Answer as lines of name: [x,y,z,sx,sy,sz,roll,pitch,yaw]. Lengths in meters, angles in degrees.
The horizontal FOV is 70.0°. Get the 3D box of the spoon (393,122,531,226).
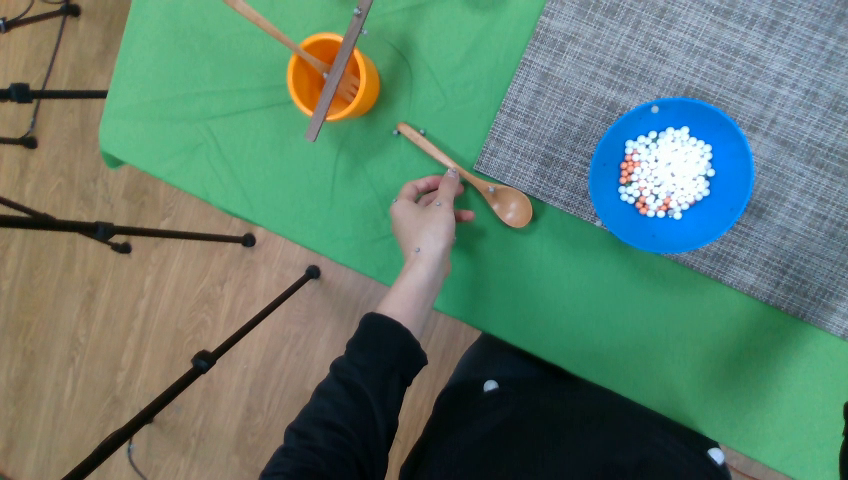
spoon: [0.041,-0.081,0.698,0.193,0.021,0.042,36,119,5]

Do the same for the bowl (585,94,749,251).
bowl: [0.241,-0.068,0.620,0.151,0.077,0.151,2,100,13]

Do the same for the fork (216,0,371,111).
fork: [-0.140,-0.204,0.654,0.028,0.018,0.209,-45,130,18]

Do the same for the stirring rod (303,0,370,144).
stirring rod: [-0.092,-0.185,0.643,0.014,0.006,0.176,27,105,8]
